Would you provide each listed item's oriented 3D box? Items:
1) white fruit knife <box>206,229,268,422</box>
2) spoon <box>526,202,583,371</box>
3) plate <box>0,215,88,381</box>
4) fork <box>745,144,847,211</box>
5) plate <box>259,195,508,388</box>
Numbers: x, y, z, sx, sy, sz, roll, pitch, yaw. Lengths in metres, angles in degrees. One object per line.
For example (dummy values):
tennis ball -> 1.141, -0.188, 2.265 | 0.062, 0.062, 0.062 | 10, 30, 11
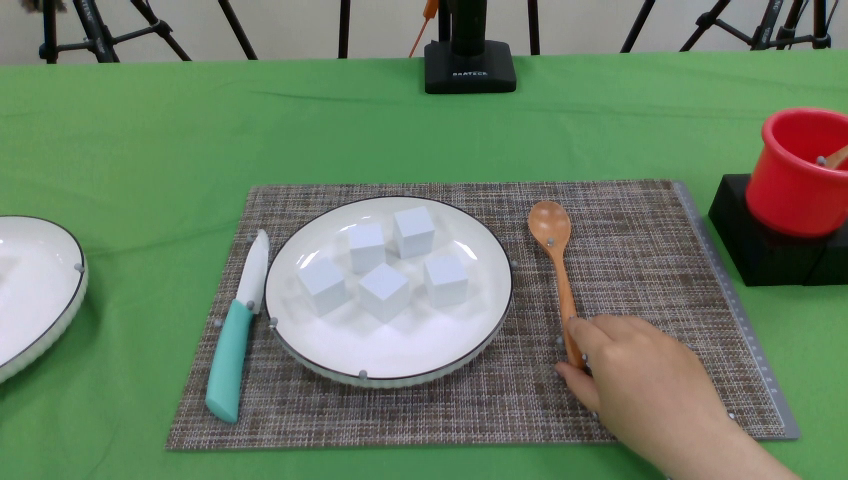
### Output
white fruit knife -> -0.156, 0.060, 0.520 | 0.027, 0.016, 0.205 | 19, 38, -20
spoon -> 0.118, 0.032, 0.532 | 0.041, 0.022, 0.192 | 4, 40, -2
plate -> -0.392, 0.060, 0.511 | 0.209, 0.038, 0.207 | 0, 44, 0
fork -> 0.367, -0.083, 0.496 | 0.207, 0.019, 0.028 | -36, 30, 25
plate -> -0.033, 0.041, 0.520 | 0.208, 0.039, 0.205 | 0, 44, 1
